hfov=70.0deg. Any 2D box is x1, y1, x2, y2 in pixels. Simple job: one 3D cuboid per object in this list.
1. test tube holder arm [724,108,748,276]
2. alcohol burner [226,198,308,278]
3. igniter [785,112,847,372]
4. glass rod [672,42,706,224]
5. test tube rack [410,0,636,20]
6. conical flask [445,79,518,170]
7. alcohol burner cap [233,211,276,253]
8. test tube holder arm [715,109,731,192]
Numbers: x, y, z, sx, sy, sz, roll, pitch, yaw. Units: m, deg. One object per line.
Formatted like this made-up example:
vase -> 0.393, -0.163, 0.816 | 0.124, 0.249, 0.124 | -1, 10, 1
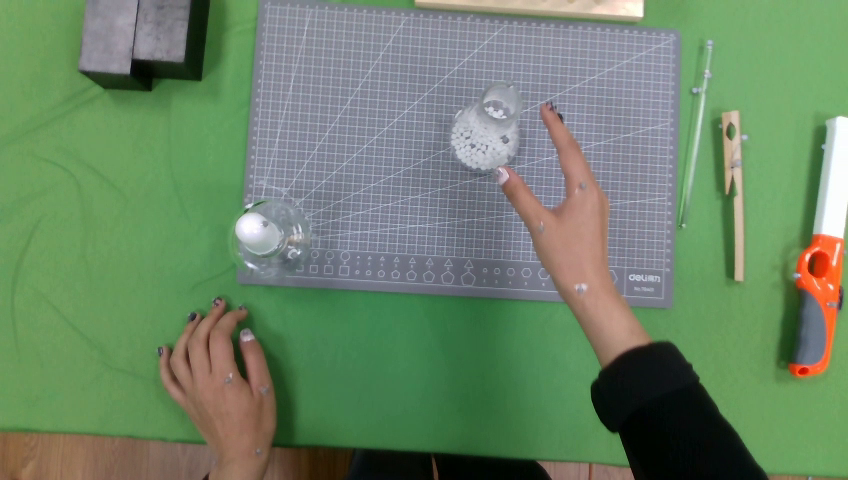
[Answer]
test tube holder arm -> 0.327, -0.051, 0.638 | 0.013, 0.015, 0.178 | -8, 84, 34
alcohol burner -> -0.151, -0.004, 0.566 | 0.078, 0.119, 0.077 | 0, 84, 0
igniter -> 0.416, 0.002, 0.635 | 0.057, 0.025, 0.276 | 12, 85, -11
glass rod -> 0.283, -0.115, 0.647 | 0.008, 0.008, 0.199 | 10, 87, -2
test tube rack -> 0.108, -0.281, 0.616 | 0.242, 0.085, 0.066 | 3, 85, -2
conical flask -> 0.060, -0.114, 0.579 | 0.075, 0.122, 0.075 | 0, 85, -2
alcohol burner cap -> -0.150, -0.009, 0.531 | 0.034, 0.048, 0.033 | 1, 76, -2
test tube holder arm -> 0.319, -0.095, 0.644 | 0.010, 0.015, 0.087 | -6, 85, 34
